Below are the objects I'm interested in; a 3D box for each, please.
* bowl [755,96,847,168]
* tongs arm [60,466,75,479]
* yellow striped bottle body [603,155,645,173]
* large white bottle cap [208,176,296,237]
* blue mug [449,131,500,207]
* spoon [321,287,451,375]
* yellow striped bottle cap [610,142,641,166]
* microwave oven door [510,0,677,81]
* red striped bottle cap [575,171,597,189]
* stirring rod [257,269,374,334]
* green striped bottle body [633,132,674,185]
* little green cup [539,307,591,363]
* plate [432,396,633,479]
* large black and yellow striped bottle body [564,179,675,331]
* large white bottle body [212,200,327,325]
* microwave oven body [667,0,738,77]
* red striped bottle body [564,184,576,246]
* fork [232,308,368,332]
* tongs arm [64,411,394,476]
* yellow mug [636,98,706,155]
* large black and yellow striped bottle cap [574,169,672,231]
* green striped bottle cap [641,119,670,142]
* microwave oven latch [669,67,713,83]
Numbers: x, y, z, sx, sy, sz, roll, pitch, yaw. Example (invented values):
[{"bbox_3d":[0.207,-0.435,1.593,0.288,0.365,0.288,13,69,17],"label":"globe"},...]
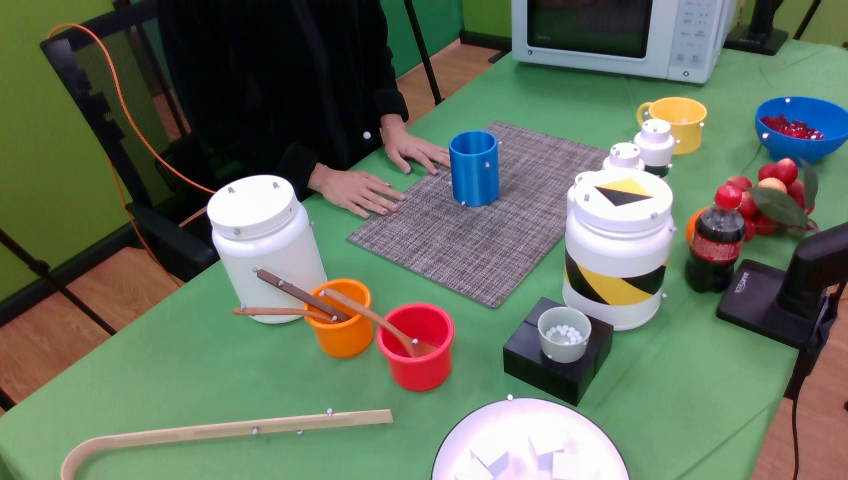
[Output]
[{"bbox_3d":[0.645,-0.177,1.041,0.151,0.077,0.150,-5,40,4],"label":"bowl"},{"bbox_3d":[-0.239,0.301,0.649,0.386,0.028,0.028,6,49,16],"label":"tongs arm"},{"bbox_3d":[0.314,-0.090,0.957,0.063,0.121,0.062,-4,40,4],"label":"yellow striped bottle body"},{"bbox_3d":[-0.229,-0.048,0.809,0.115,0.018,0.114,-4,41,4],"label":"large white bottle cap"},{"bbox_3d":[0.089,-0.132,1.049,0.082,0.106,0.116,0,40,9],"label":"blue mug"},{"bbox_3d":[-0.046,0.111,0.757,0.194,0.021,0.041,38,47,-15],"label":"spoon"},{"bbox_3d":[0.308,-0.131,0.925,0.044,0.019,0.044,-4,45,4],"label":"yellow striped bottle cap"},{"bbox_3d":[0.354,-0.478,1.290,0.353,0.245,0.039,15,45,25],"label":"microwave oven door"},{"bbox_3d":[0.242,-0.081,0.876,0.044,0.018,0.044,-5,44,5],"label":"red striped bottle cap"},{"bbox_3d":[-0.143,0.084,0.808,0.177,0.006,0.014,30,43,-19],"label":"stirring rod"},{"bbox_3d":[0.376,-0.135,1.001,0.063,0.120,0.063,-5,40,5],"label":"green striped bottle body"},{"bbox_3d":[0.167,0.114,0.721,0.061,0.039,0.061,-4,43,4],"label":"little green cup"},{"bbox_3d":[0.112,0.261,0.634,0.209,0.038,0.208,-5,40,4],"label":"plate"},{"bbox_3d":[0.253,0.014,0.793,0.131,0.185,0.130,-5,40,4],"label":"large black and yellow striped bottle body"},{"bbox_3d":[-0.220,0.017,0.864,0.130,0.185,0.130,-5,40,4],"label":"large white bottle body"},{"bbox_3d":[0.462,-0.552,1.369,0.439,0.261,0.326,15,45,26],"label":"microwave oven body"},{"bbox_3d":[0.247,-0.041,0.910,0.063,0.120,0.062,-3,39,3],"label":"red striped bottle body"},{"bbox_3d":[-0.152,0.101,0.781,0.209,0.018,0.028,18,19,-46],"label":"fork"},{"bbox_3d":[-0.228,0.240,0.715,0.385,0.026,0.050,-5,44,5],"label":"tongs arm"},{"bbox_3d":[0.453,-0.217,1.129,0.100,0.064,0.129,-34,46,-27],"label":"yellow mug"},{"bbox_3d":[0.242,-0.051,0.738,0.115,0.019,0.114,-4,37,3],"label":"large black and yellow striped bottle cap"},{"bbox_3d":[0.371,-0.175,0.968,0.044,0.020,0.044,-5,42,5],"label":"green striped bottle cap"},{"bbox_3d":[0.556,-0.348,1.262,0.078,0.029,0.030,15,46,26],"label":"microwave oven latch"}]
